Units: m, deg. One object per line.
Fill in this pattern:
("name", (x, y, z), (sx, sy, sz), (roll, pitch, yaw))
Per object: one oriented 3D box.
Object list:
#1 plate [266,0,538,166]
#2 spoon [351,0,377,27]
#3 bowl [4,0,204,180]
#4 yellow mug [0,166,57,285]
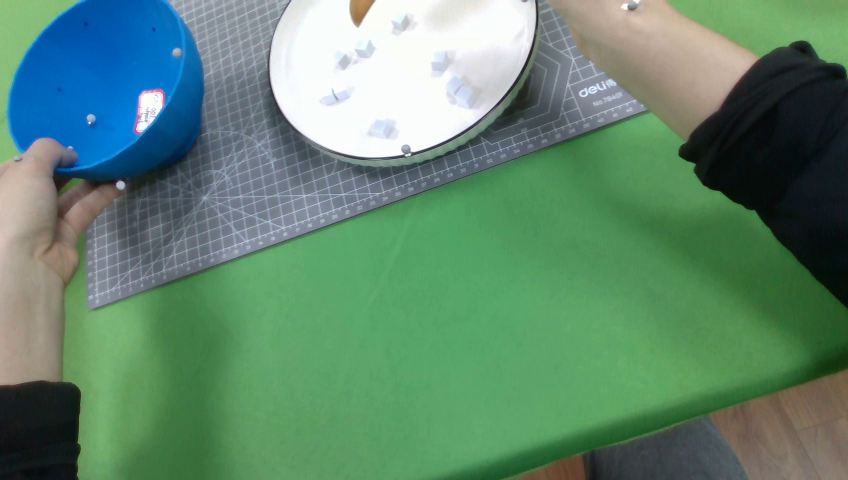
("plate", (-0.018, -0.145, 0.458), (0.209, 0.038, 0.207), (-5, 69, 13))
("spoon", (0.017, -0.190, 0.351), (0.193, 0.022, 0.041), (-28, 47, 35))
("bowl", (-0.226, -0.105, 0.465), (0.151, 0.077, 0.150), (-4, 72, 14))
("yellow mug", (-0.369, -0.005, 0.489), (0.099, 0.064, 0.130), (3, 72, 16))
